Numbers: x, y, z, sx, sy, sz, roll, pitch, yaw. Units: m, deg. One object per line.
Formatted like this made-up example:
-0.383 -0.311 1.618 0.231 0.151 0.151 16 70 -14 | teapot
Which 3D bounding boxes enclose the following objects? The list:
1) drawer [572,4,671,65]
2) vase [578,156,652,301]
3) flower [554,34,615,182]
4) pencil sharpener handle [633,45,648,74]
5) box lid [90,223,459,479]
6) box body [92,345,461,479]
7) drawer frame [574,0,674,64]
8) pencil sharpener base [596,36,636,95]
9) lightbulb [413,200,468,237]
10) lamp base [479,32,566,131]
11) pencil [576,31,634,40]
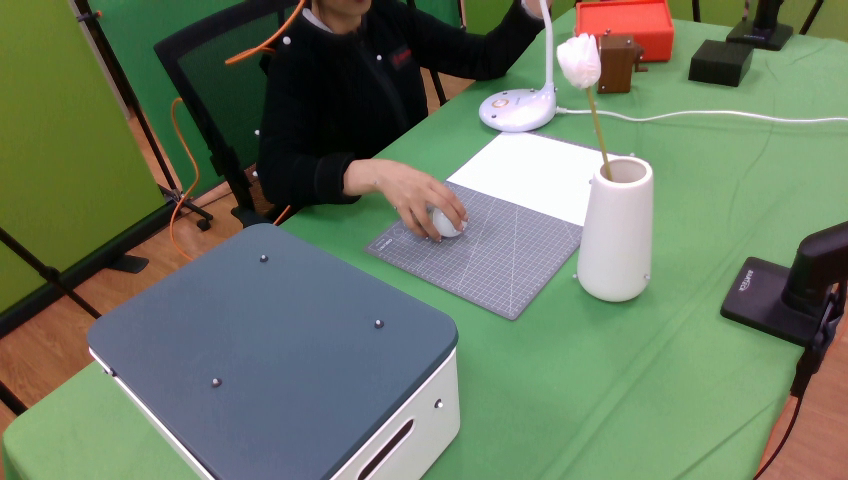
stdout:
0.461 -0.490 1.435 0.211 0.073 0.194 2 40 12 | drawer
0.261 -0.011 0.812 0.098 0.201 0.097 -4 40 4 | vase
0.237 -0.083 0.774 0.044 0.363 0.038 -22 26 6 | flower
0.454 -0.378 1.262 0.030 0.068 0.036 1 47 13 | pencil sharpener handle
-0.174 0.102 0.666 0.368 0.015 0.264 24 48 35 | box lid
-0.162 0.170 0.708 0.361 0.161 0.255 25 50 34 | box body
0.464 -0.492 1.434 0.213 0.083 0.201 1 40 12 | drawer frame
0.406 -0.369 1.280 0.076 0.107 0.061 1 41 13 | pencil sharpener base
0.024 -0.036 0.998 0.107 0.060 0.059 3 38 42 | lightbulb
0.201 -0.332 1.218 0.179 0.181 0.160 2 41 7 | lamp base
0.431 -0.488 1.443 0.012 0.012 0.192 -25 30 -18 | pencil
